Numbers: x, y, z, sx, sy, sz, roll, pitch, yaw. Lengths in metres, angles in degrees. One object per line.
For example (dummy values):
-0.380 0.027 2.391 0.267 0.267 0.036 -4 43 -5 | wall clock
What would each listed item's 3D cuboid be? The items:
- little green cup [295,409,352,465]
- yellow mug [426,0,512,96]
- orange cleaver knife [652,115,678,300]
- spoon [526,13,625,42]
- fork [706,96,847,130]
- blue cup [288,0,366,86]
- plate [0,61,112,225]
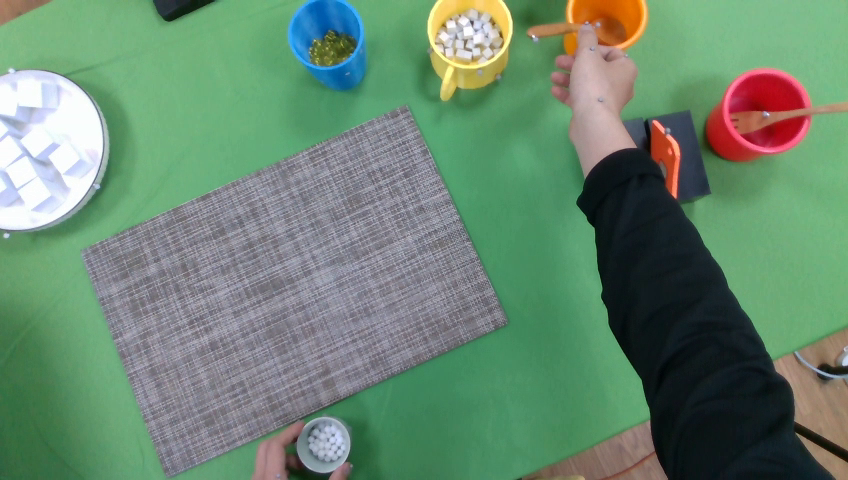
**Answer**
-0.114 0.228 0.709 0.061 0.039 0.061 -1 84 7 | little green cup
0.048 -0.235 0.733 0.100 0.064 0.130 24 87 5 | yellow mug
0.275 -0.034 0.693 0.012 0.076 0.213 -9 113 4 | orange cleaver knife
0.175 -0.243 0.687 0.021 0.194 0.041 -34 79 44 | spoon
0.420 -0.145 0.666 0.206 0.019 0.028 -1 79 45 | fork
-0.107 -0.230 0.723 0.092 0.100 0.092 0 85 2 | blue cup
-0.490 -0.119 0.761 0.207 0.039 0.207 0 84 3 | plate
